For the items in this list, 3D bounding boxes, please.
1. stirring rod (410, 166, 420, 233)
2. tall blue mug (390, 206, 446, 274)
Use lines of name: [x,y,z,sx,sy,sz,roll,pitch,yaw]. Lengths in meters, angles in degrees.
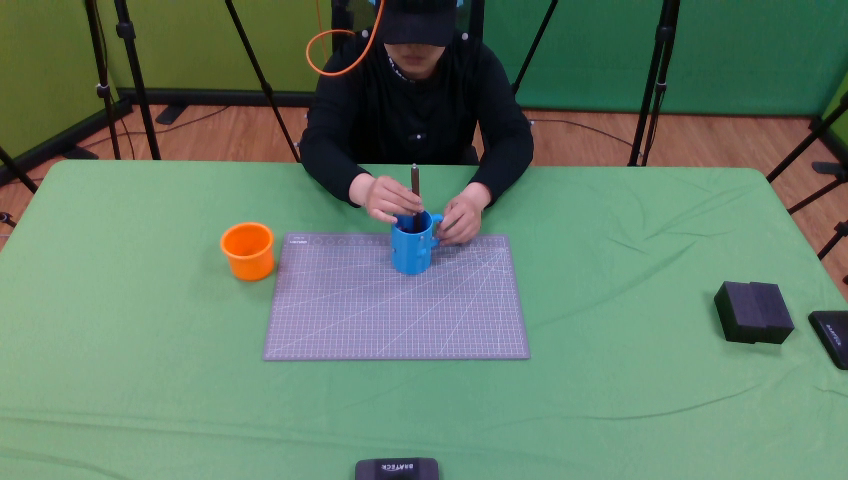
stirring rod: [-0.015,-0.063,1.086,0.014,0.177,0.006,4,47,5]
tall blue mug: [-0.016,-0.008,1.142,0.077,0.108,0.107,23,49,19]
